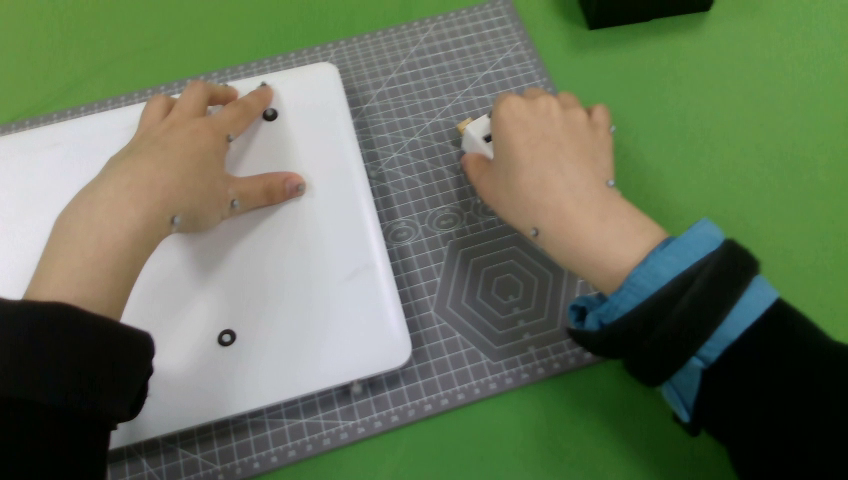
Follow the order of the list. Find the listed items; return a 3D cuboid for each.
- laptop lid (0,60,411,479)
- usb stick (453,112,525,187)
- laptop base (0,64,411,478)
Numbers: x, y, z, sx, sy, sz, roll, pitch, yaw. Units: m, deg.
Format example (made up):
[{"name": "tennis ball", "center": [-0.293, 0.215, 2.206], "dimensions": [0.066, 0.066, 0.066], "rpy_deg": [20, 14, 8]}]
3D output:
[{"name": "laptop lid", "center": [-0.204, 0.013, 0.378], "dimensions": [0.357, 0.013, 0.239], "rpy_deg": [-13, 66, -5]}, {"name": "usb stick", "center": [0.042, -0.067, 0.414], "dimensions": [0.021, 0.027, 0.058], "rpy_deg": [-31, 64, -18]}, {"name": "laptop base", "center": [-0.205, 0.016, 0.389], "dimensions": [0.355, 0.023, 0.233], "rpy_deg": [-15, 67, -5]}]
